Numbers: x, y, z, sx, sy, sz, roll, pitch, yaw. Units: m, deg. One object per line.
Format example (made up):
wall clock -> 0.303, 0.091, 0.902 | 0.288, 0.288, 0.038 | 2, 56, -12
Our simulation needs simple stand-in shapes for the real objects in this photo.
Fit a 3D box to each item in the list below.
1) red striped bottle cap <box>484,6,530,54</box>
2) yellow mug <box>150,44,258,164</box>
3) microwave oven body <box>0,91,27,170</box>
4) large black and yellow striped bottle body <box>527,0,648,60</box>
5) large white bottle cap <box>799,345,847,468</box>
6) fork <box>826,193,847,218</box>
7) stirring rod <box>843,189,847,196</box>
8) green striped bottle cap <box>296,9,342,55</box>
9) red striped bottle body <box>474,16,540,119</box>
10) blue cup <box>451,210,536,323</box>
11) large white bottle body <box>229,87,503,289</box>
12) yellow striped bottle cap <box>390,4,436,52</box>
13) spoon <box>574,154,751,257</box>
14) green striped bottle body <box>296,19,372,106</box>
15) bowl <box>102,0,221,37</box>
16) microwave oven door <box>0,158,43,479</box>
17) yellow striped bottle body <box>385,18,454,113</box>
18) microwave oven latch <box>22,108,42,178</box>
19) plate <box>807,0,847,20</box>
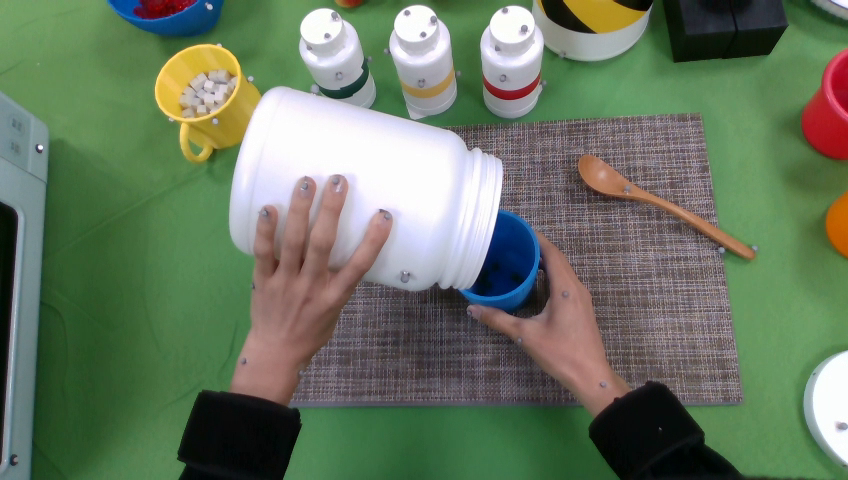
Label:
red striped bottle cap -> 0.080, -0.202, 0.582 | 0.044, 0.018, 0.044 | -1, 70, 3
yellow mug -> -0.253, -0.149, 0.690 | 0.100, 0.064, 0.130 | 8, 73, 8
microwave oven body -> -0.590, 0.052, 0.558 | 0.326, 0.262, 0.438 | -11, 71, 3
large black and yellow striped bottle body -> 0.174, -0.290, 0.621 | 0.130, 0.185, 0.130 | -2, 71, 7
large white bottle cap -> 0.396, 0.148, 0.535 | 0.115, 0.018, 0.114 | -2, 71, 6
fork -> 0.441, -0.006, 0.510 | 0.028, 0.205, 0.019 | -23, 114, -14
stirring rod -> 0.414, -0.007, 0.522 | 0.014, 0.006, 0.175 | 0, 29, 5
green striped bottle cap -> -0.106, -0.209, 0.608 | 0.044, 0.020, 0.044 | -2, 70, 6
red striped bottle body -> 0.088, -0.184, 0.631 | 0.063, 0.121, 0.062 | -5, 67, 12
blue cup -> 0.065, 0.033, 0.565 | 0.092, 0.101, 0.092 | -6, 62, 11
large white bottle body -> -0.041, -0.035, 0.471 | 0.185, 0.131, 0.130 | 12, 73, -4
yellow striped bottle cap -> -0.011, -0.209, 0.596 | 0.044, 0.019, 0.044 | -2, 73, 6
spoon -> 0.237, -0.034, 0.610 | 0.193, 0.022, 0.041 | 29, 52, 15
green striped bottle body -> -0.098, -0.192, 0.656 | 0.063, 0.120, 0.063 | -2, 71, 6
bowl -> -0.306, -0.305, 0.742 | 0.151, 0.077, 0.150 | -2, 71, 6
microwave oven door -> -0.441, 0.062, 0.531 | 0.039, 0.245, 0.353 | -11, 70, 4
yellow striped bottle body -> -0.005, -0.192, 0.644 | 0.063, 0.121, 0.062 | -3, 71, 8
microwave oven latch -> -0.462, -0.110, 0.698 | 0.030, 0.030, 0.078 | -9, 71, 4
plate -> 0.495, -0.322, 0.669 | 0.209, 0.038, 0.208 | -2, 72, 6
